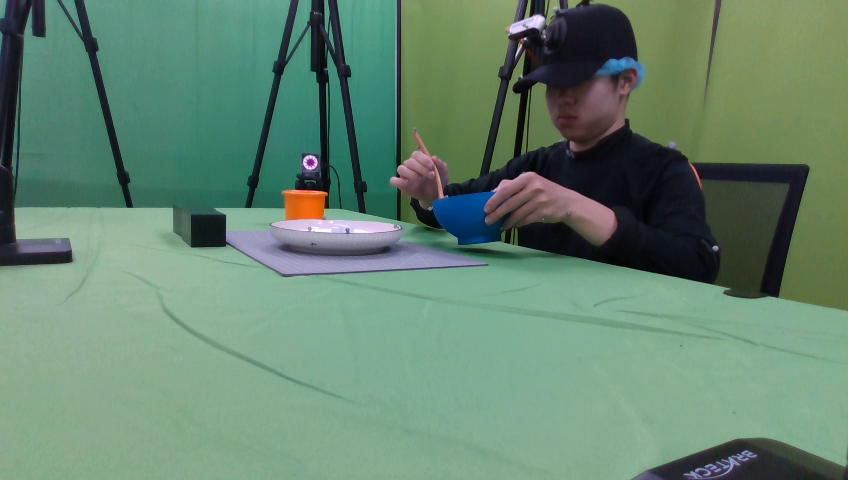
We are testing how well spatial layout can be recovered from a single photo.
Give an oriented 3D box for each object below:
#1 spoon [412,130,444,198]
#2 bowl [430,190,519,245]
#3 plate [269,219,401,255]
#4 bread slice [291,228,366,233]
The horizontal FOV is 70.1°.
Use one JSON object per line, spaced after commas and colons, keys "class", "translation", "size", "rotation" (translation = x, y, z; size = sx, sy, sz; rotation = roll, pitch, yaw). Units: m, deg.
{"class": "spoon", "translation": [0.018, -0.109, 1.033], "size": [0.021, 0.193, 0.042], "rotation": [-21, -19, 3]}
{"class": "bowl", "translation": [0.089, -0.033, 1.012], "size": [0.151, 0.076, 0.151], "rotation": [-6, -2, 0]}
{"class": "plate", "translation": [-0.140, -0.006, 0.958], "size": [0.209, 0.038, 0.209], "rotation": [3, 7, 0]}
{"class": "bread slice", "translation": [-0.143, -0.003, 0.953], "size": [0.135, 0.018, 0.106], "rotation": [-1, 8, -37]}
